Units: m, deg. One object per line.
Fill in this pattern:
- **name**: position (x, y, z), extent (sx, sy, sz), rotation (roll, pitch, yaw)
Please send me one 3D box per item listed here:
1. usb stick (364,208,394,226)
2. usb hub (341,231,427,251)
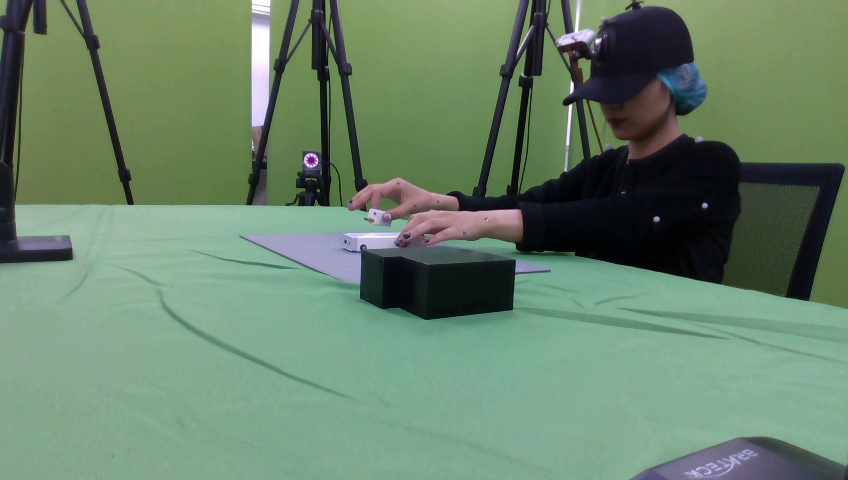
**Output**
- **usb stick**: position (-0.080, -0.041, 1.055), extent (0.021, 0.027, 0.059), rotation (20, 11, 35)
- **usb hub**: position (-0.060, 0.001, 0.934), extent (0.126, 0.025, 0.049), rotation (-1, 9, -27)
